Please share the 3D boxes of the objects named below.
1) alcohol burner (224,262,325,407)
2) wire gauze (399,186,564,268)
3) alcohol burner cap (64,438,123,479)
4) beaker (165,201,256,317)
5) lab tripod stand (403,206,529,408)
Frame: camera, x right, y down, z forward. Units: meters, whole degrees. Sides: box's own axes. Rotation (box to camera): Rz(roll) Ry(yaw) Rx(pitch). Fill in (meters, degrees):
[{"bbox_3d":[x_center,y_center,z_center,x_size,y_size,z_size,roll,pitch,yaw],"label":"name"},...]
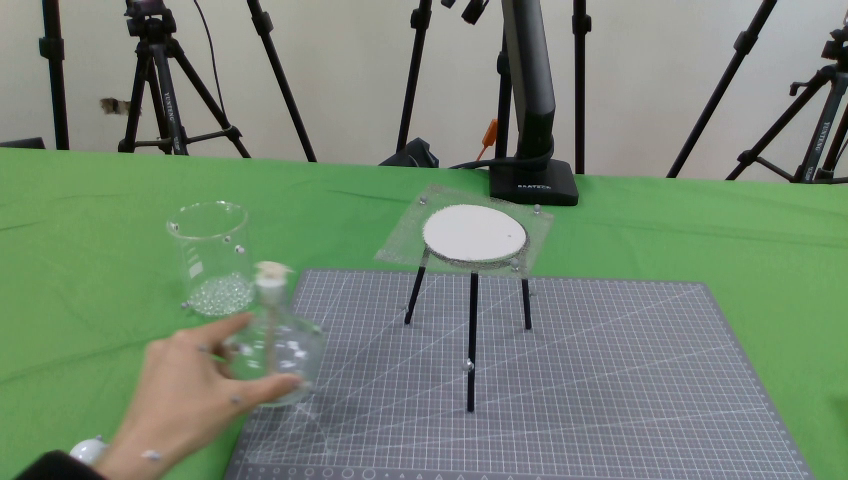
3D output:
[{"bbox_3d":[-0.117,0.070,0.476,0.078,0.120,0.077,5,24,-2],"label":"alcohol burner"},{"bbox_3d":[0.044,-0.017,0.486,0.125,0.011,0.120,7,28,-4],"label":"wire gauze"},{"bbox_3d":[-0.242,0.165,0.439,0.034,0.048,0.033,1,33,0],"label":"alcohol burner cap"},{"bbox_3d":[-0.210,0.019,0.611,0.074,0.101,0.083,9,33,11],"label":"beaker"},{"bbox_3d":[0.042,0.050,0.536,0.148,0.132,0.147,2,34,-1],"label":"lab tripod stand"}]
